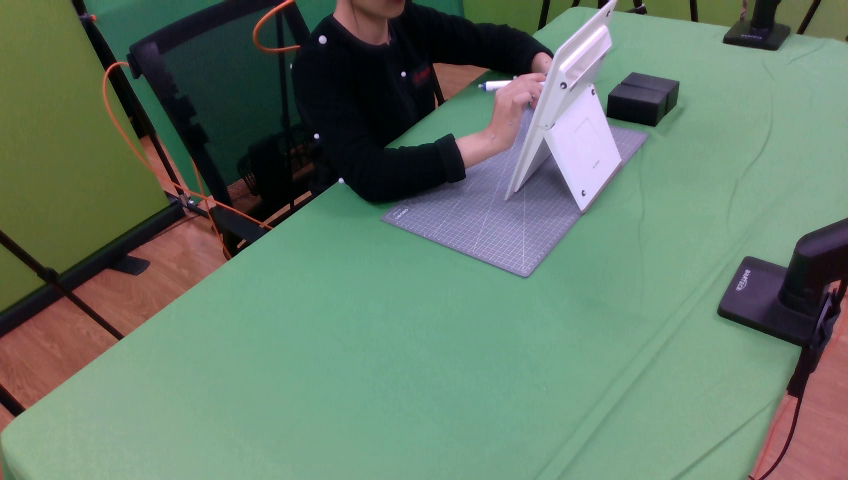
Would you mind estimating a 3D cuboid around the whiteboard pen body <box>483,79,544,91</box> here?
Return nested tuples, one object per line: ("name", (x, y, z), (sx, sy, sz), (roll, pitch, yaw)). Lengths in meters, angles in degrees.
("whiteboard pen body", (0.173, -0.267, 1.039), (0.140, 0.017, 0.017), (0, 41, 12))

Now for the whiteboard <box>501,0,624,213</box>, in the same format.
("whiteboard", (0.271, -0.189, 0.977), (0.143, 0.306, 0.218), (34, 53, 16))

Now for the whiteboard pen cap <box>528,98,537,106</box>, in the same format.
("whiteboard pen cap", (0.239, -0.293, 1.288), (0.033, 0.018, 0.018), (22, 50, 36))
